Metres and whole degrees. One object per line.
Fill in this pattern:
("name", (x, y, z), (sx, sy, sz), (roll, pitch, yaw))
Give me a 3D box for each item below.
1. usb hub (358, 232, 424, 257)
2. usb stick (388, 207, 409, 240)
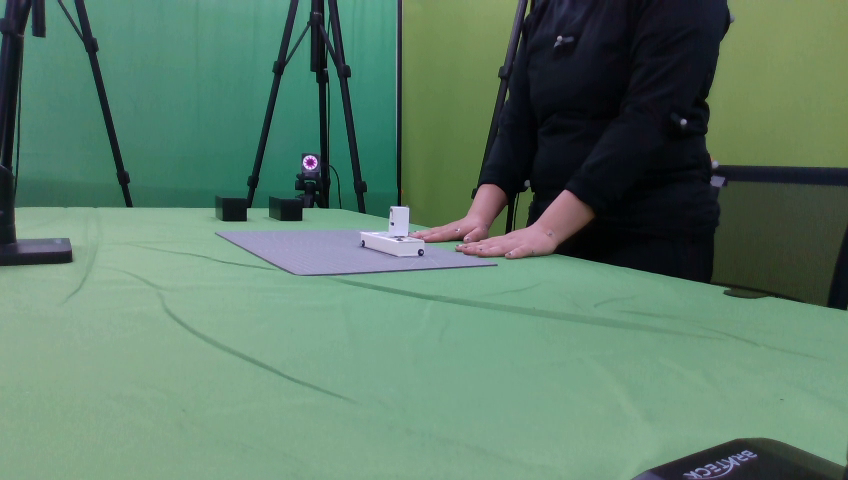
("usb hub", (-0.054, 0.005, 0.947), (0.050, 0.025, 0.124), (-3, 8, -34))
("usb stick", (-0.039, -0.021, 0.931), (0.027, 0.059, 0.021), (-4, 11, -37))
